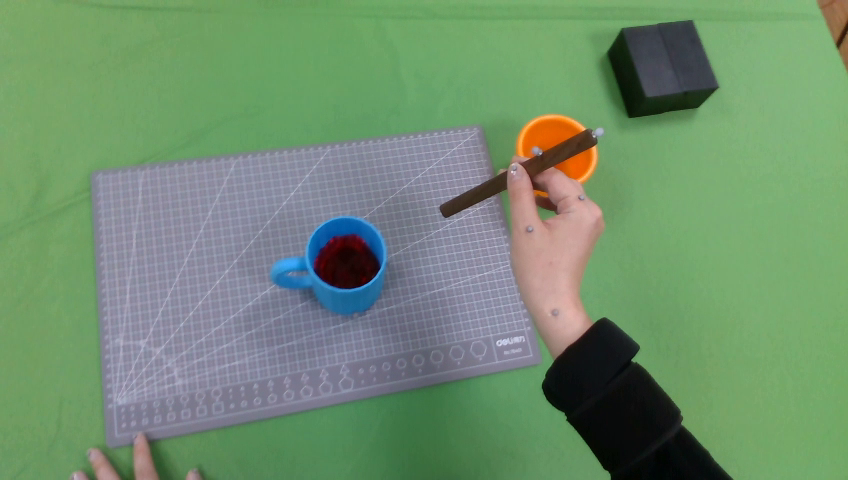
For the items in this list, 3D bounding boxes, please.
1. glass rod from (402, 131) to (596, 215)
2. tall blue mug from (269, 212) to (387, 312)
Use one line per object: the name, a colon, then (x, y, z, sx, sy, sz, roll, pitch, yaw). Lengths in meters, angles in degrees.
glass rod: (0.051, -0.050, 0.490, 0.008, 0.199, 0.008, 18, 64, -41)
tall blue mug: (-0.092, 0.033, 0.613, 0.107, 0.108, 0.077, -32, 79, -16)
